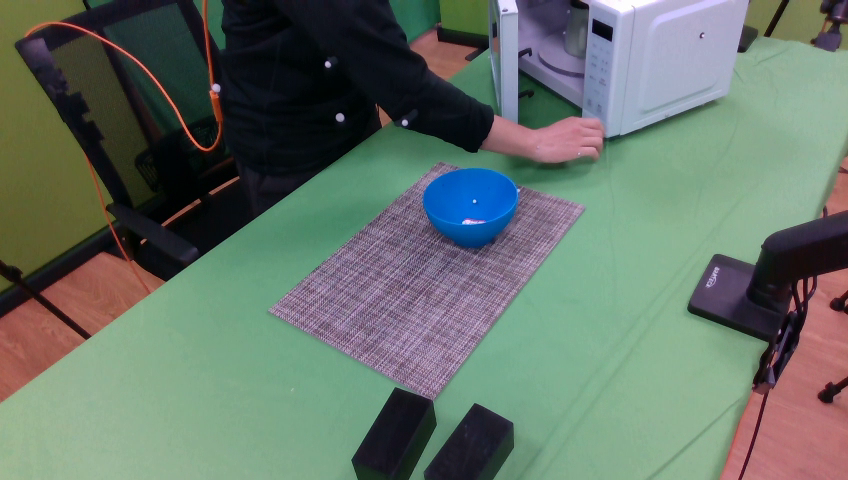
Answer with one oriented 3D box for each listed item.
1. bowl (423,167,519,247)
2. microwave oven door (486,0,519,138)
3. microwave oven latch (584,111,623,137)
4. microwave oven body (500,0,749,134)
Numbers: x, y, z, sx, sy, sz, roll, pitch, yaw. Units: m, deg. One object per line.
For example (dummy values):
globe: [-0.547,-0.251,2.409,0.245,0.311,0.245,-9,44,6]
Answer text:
bowl: [0.075,-0.041,0.959,0.151,0.077,0.150,-4,40,4]
microwave oven door: [0.156,-0.403,1.222,0.039,0.245,0.354,-4,41,4]
microwave oven latch: [0.337,-0.222,1.142,0.030,0.029,0.078,-21,42,-14]
microwave oven body: [0.382,-0.445,1.246,0.327,0.261,0.437,-22,42,-16]
